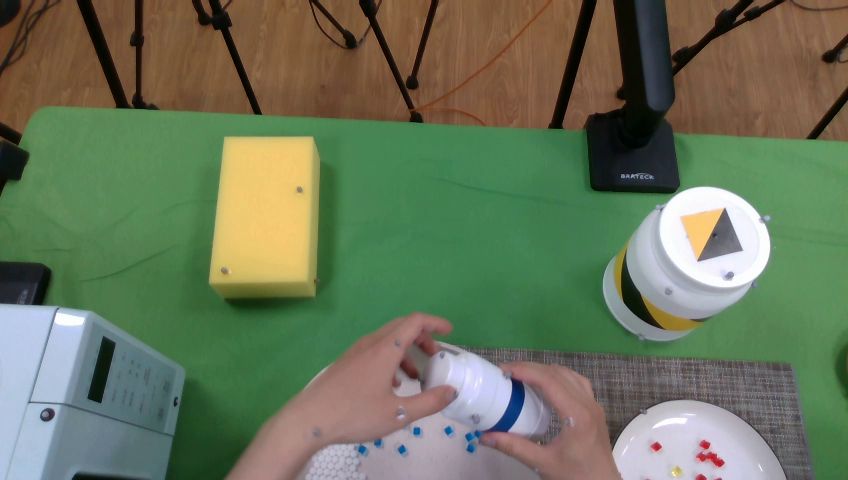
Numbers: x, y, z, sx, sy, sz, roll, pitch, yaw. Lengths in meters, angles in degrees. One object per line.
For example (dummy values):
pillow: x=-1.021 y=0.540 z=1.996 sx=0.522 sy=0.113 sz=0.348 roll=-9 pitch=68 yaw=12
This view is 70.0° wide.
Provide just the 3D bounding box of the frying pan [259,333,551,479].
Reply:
frying pan: x=-0.024 y=0.340 z=0.612 sx=0.307 sy=0.103 sz=0.483 roll=2 pitch=59 yaw=2

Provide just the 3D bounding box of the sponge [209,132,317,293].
sponge: x=-0.204 y=-0.037 z=0.788 sx=0.118 sy=0.061 sz=0.205 roll=-2 pitch=69 yaw=-2

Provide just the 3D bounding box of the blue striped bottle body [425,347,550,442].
blue striped bottle body: x=0.056 y=0.141 z=0.566 sx=0.122 sy=0.063 sz=0.062 roll=31 pitch=65 yaw=-29

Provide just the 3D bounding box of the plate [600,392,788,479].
plate: x=0.299 y=0.278 z=0.679 sx=0.209 sy=0.038 sz=0.207 roll=0 pitch=68 yaw=-1

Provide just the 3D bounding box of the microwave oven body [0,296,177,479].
microwave oven body: x=-0.453 y=0.287 z=0.538 sx=0.326 sy=0.262 sz=0.438 roll=3 pitch=68 yaw=0

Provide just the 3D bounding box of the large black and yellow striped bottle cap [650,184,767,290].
large black and yellow striped bottle cap: x=0.295 y=-0.005 z=0.627 sx=0.115 sy=0.019 sz=0.114 roll=0 pitch=66 yaw=0

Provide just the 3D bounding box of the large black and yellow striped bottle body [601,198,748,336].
large black and yellow striped bottle body: x=0.294 y=0.028 z=0.707 sx=0.131 sy=0.185 sz=0.130 roll=0 pitch=67 yaw=-1

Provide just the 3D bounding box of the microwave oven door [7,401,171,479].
microwave oven door: x=-0.310 y=0.332 z=0.517 sx=0.039 sy=0.245 sz=0.353 roll=3 pitch=67 yaw=0

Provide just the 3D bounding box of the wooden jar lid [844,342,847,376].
wooden jar lid: x=0.572 y=0.158 z=0.748 sx=0.108 sy=0.021 sz=0.107 roll=0 pitch=69 yaw=-1

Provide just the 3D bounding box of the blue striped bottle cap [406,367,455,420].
blue striped bottle cap: x=0.006 y=0.136 z=0.541 sx=0.044 sy=0.021 sz=0.044 roll=-23 pitch=42 yaw=22

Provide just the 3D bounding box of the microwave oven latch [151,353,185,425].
microwave oven latch: x=-0.297 y=0.170 z=0.694 sx=0.030 sy=0.030 sz=0.078 roll=6 pitch=68 yaw=1
